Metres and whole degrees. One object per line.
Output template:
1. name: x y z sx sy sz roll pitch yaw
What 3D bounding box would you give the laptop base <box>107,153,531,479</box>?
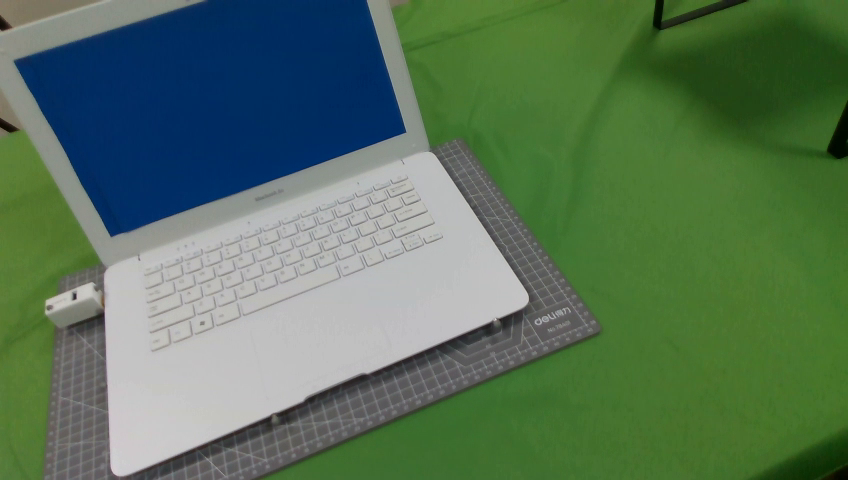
1. laptop base: -0.110 0.047 0.559 0.354 0.023 0.233 -22 50 -9

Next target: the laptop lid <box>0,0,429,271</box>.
1. laptop lid: -0.185 -0.129 0.585 0.357 0.243 0.013 -23 26 -9

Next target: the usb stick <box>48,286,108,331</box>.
1. usb stick: -0.316 0.062 0.569 0.059 0.027 0.021 -19 45 -11
